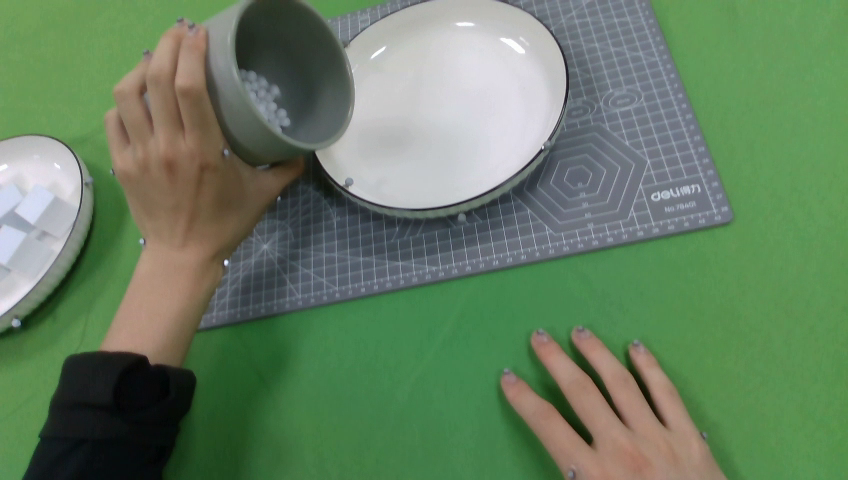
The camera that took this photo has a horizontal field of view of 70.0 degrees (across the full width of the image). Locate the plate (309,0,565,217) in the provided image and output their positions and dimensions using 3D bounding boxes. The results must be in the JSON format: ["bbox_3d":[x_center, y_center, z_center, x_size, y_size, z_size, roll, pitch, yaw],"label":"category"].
[{"bbox_3d":[0.007,-0.107,0.483,0.209,0.038,0.207,-7,62,13],"label":"plate"}]

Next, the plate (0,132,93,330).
[{"bbox_3d":[-0.385,-0.002,0.544,0.207,0.039,0.206,-6,62,13],"label":"plate"}]

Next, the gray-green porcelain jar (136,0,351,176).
[{"bbox_3d":[-0.135,-0.105,0.440,0.126,0.107,0.105,-7,60,37],"label":"gray-green porcelain jar"}]
